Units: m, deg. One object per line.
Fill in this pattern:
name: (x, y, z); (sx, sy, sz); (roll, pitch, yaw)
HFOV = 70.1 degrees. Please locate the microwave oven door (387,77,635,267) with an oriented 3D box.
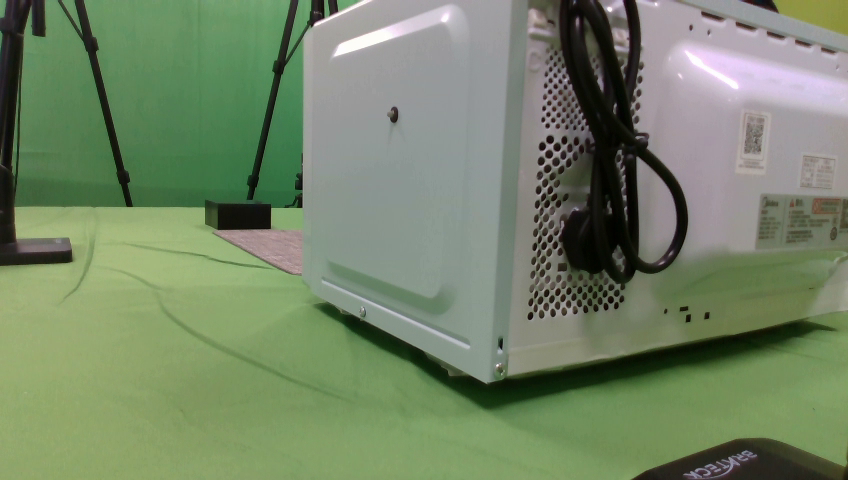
microwave oven door: (0.107, -0.102, 0.859); (0.354, 0.243, 0.039); (6, 8, 29)

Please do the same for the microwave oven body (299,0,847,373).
microwave oven body: (0.151, -0.055, 0.543); (0.444, 0.260, 0.324); (-2, 7, -33)

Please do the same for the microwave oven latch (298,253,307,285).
microwave oven latch: (-0.081, 0.027, 0.582); (0.079, 0.029, 0.030); (-1, 7, -32)
